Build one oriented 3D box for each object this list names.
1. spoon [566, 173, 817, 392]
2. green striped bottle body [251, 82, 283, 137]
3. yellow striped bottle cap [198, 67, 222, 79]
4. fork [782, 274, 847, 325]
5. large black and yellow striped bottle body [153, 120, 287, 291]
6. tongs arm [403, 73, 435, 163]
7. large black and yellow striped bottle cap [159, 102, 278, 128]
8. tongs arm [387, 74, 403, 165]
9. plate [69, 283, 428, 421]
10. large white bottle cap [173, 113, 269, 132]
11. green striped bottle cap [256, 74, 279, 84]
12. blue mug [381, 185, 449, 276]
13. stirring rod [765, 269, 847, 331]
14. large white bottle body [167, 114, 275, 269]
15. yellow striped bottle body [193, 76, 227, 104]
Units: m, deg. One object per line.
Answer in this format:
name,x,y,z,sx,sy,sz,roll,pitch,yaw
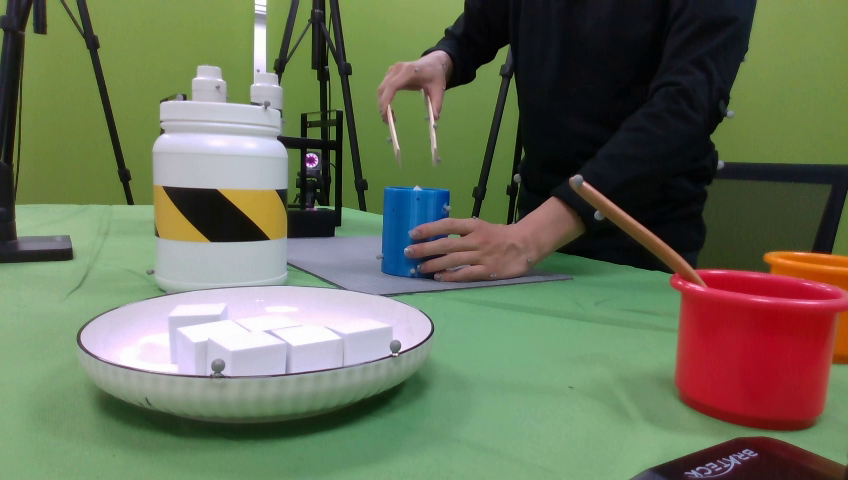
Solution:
spoon,0.161,0.024,0.370,0.193,0.021,0.042,47,18,3
green striped bottle body,-0.317,-0.270,1.220,0.063,0.119,0.063,2,7,0
yellow striped bottle cap,-0.411,-0.320,1.163,0.044,0.018,0.044,0,6,0
fork,0.332,0.018,0.443,0.028,0.018,0.207,-1,-36,-15
large black and yellow striped bottle body,-0.208,-0.042,0.626,0.131,0.184,0.130,2,7,0
tongs arm,-0.012,-0.192,0.894,0.051,0.026,0.384,-2,28,1
large black and yellow striped bottle cap,-0.207,-0.125,0.614,0.115,0.019,0.115,2,6,0
tongs arm,-0.041,-0.190,0.893,0.028,0.028,0.386,-7,28,0
plate,-0.102,0.066,0.381,0.208,0.039,0.207,2,7,0
large white bottle cap,-0.254,-0.146,0.760,0.115,0.018,0.115,1,7,0
green striped bottle cap,-0.314,-0.321,1.214,0.044,0.020,0.044,2,9,0
blue mug,-0.018,-0.016,0.764,0.083,0.106,0.116,-2,8,-25
stirring rod,0.351,0.020,0.484,0.176,0.006,0.014,-40,-6,13
large white bottle body,-0.256,-0.063,0.771,0.131,0.184,0.130,2,7,0
yellow striped bottle body,-0.414,-0.268,1.169,0.063,0.120,0.063,2,7,0
